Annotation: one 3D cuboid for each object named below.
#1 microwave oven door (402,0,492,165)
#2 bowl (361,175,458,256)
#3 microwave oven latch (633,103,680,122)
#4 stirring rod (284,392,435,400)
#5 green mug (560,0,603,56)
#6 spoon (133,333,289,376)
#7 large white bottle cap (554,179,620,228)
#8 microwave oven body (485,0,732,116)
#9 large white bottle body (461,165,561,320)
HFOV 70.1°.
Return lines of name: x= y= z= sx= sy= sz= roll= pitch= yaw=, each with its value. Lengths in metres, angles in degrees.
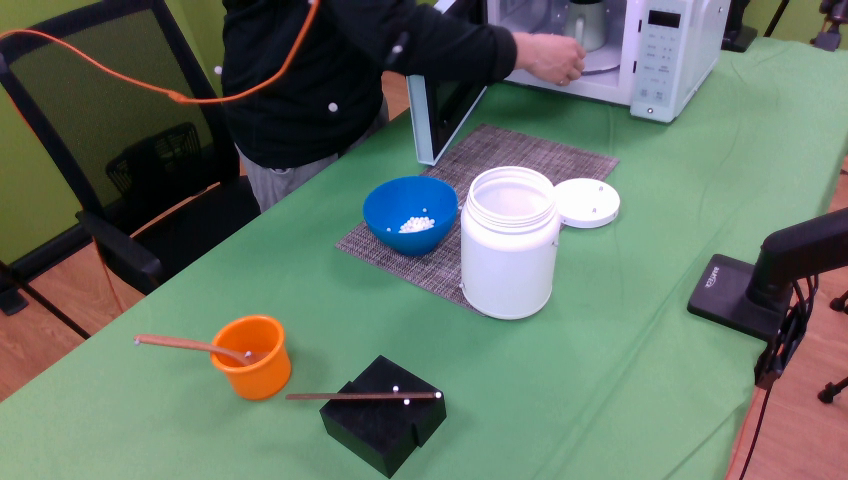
microwave oven door: x=0.056 y=-0.343 z=1.167 sx=0.039 sy=0.245 sz=0.356 roll=11 pitch=43 yaw=20
bowl: x=-0.019 y=-0.028 z=0.955 sx=0.151 sy=0.077 sz=0.150 roll=-4 pitch=40 yaw=4
microwave oven latch: x=0.443 y=-0.249 z=1.157 sx=0.078 sy=0.029 sz=0.030 roll=21 pitch=49 yaw=30
stirring rod: x=-0.075 y=0.180 z=0.698 sx=0.176 sy=0.006 sz=0.014 roll=-2 pitch=6 yaw=7
green mug: x=0.333 y=-0.451 z=1.295 sx=0.092 sy=0.105 sz=0.125 roll=11 pitch=47 yaw=23
spoon: x=-0.257 y=0.137 z=0.747 sx=0.021 sy=0.195 sz=0.041 roll=-47 pitch=40 yaw=23
large white bottle cap: x=0.265 y=-0.062 z=1.001 sx=0.115 sy=0.018 sz=0.114 roll=-4 pitch=41 yaw=4
microwave oven body: x=0.377 y=-0.462 z=1.267 sx=0.438 sy=0.261 sz=0.327 roll=21 pitch=49 yaw=30
large white bottle body: x=0.115 y=0.004 z=0.816 sx=0.130 sy=0.185 sz=0.130 roll=-2 pitch=43 yaw=2
